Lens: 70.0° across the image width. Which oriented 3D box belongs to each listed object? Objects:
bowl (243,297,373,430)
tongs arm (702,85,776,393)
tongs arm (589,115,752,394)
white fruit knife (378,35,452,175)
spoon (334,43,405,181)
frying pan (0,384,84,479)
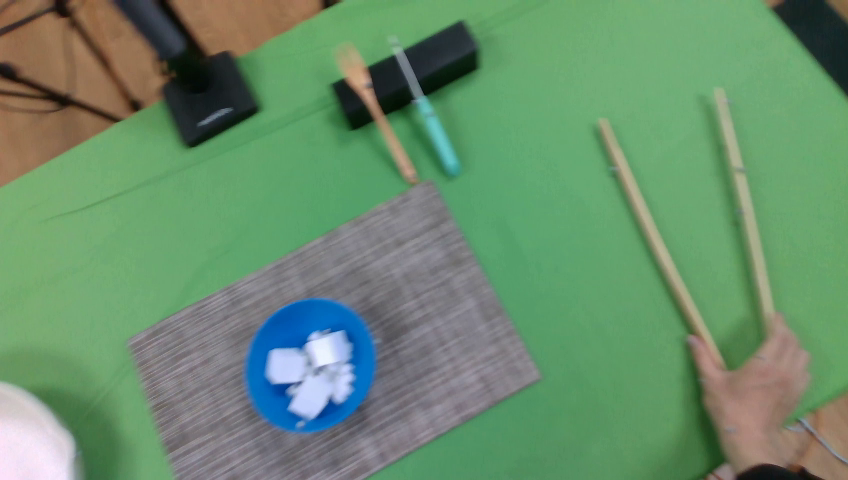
[{"bbox_3d":[-0.129,0.149,0.723,0.151,0.077,0.150,-1,74,5],"label":"bowl"},{"bbox_3d":[0.370,-0.011,0.742,0.051,0.027,0.382,-9,75,4],"label":"tongs arm"},{"bbox_3d":[0.292,0.010,0.749,0.028,0.028,0.385,-21,74,-3],"label":"tongs arm"},{"bbox_3d":[-0.015,-0.181,0.806,0.016,0.027,0.207,-27,88,-7],"label":"white fruit knife"},{"bbox_3d":[-0.070,-0.167,0.802,0.041,0.021,0.194,-20,94,23],"label":"spoon"},{"bbox_3d":[-0.493,0.399,0.681,0.307,0.103,0.483,-30,65,-2],"label":"frying pan"}]
